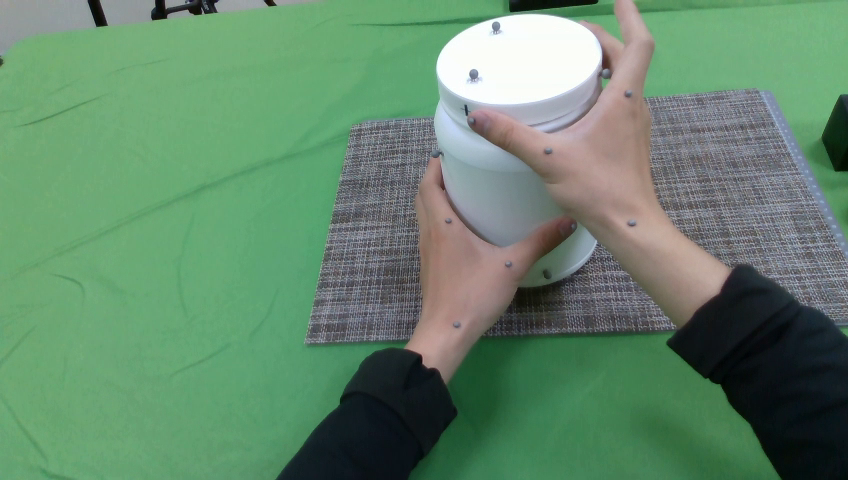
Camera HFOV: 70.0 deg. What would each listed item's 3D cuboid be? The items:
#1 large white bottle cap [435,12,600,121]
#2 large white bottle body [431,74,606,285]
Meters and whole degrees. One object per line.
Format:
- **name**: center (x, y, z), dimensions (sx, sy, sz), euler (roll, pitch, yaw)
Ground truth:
- **large white bottle cap**: center (0.065, -0.124, 0.425), dimensions (0.115, 0.018, 0.113), euler (-7, 46, 8)
- **large white bottle body**: center (0.077, -0.066, 0.490), dimensions (0.130, 0.186, 0.129), euler (-6, 47, 7)
